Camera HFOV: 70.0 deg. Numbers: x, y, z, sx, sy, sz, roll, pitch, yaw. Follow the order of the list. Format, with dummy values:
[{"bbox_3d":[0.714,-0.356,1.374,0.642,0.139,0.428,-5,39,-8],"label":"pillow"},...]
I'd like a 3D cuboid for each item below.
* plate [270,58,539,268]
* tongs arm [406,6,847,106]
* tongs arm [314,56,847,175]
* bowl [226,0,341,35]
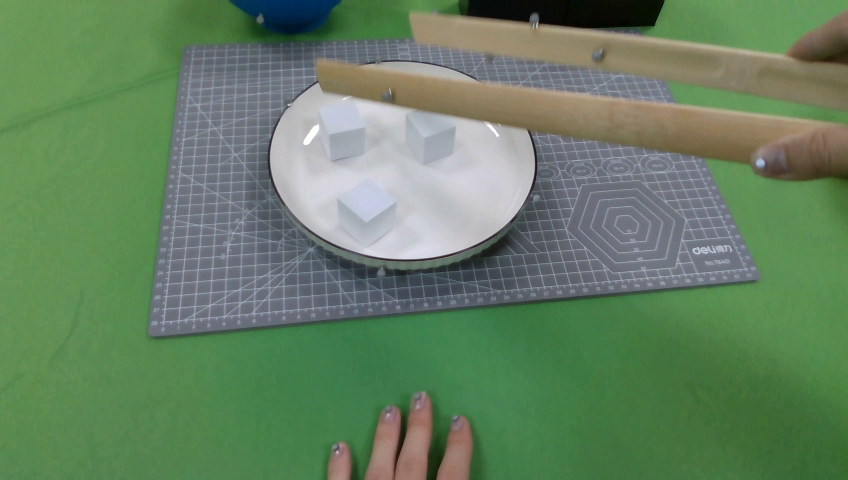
[{"bbox_3d":[-0.015,-0.063,0.484,0.208,0.039,0.205,2,57,-2],"label":"plate"},{"bbox_3d":[0.121,-0.106,0.362,0.381,0.027,0.050,21,46,35],"label":"tongs arm"},{"bbox_3d":[0.085,-0.073,0.330,0.384,0.028,0.028,16,40,30],"label":"tongs arm"},{"bbox_3d":[-0.133,-0.253,0.580,0.151,0.077,0.150,1,57,-2],"label":"bowl"}]
